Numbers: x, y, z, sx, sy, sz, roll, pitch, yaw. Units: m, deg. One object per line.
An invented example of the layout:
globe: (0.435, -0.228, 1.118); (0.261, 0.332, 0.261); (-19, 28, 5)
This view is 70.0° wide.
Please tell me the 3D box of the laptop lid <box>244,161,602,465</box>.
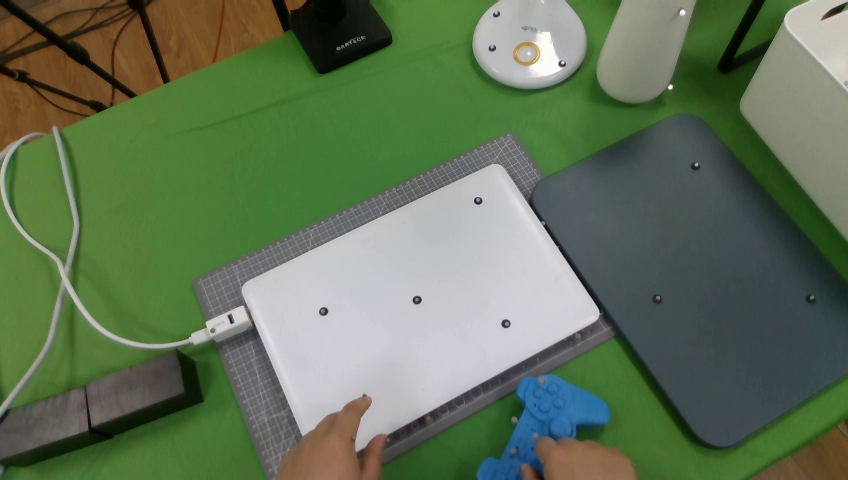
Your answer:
laptop lid: (-0.004, 0.067, 0.693); (0.357, 0.013, 0.239); (-25, 69, -8)

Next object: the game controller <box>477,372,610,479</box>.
game controller: (0.121, 0.209, 0.619); (0.096, 0.052, 0.154); (24, 68, 20)

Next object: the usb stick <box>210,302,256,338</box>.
usb stick: (-0.211, 0.088, 0.691); (0.059, 0.027, 0.021); (-22, 66, -13)

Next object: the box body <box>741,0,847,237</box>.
box body: (0.582, -0.120, 0.683); (0.254, 0.161, 0.361); (-24, 67, -7)

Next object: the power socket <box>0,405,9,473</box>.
power socket: (-0.520, 0.171, 0.675); (0.072, 0.033, 0.224); (-24, 66, -9)

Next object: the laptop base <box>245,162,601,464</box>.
laptop base: (-0.005, 0.070, 0.704); (0.354, 0.023, 0.233); (-26, 70, -9)

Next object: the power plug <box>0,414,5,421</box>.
power plug: (-0.462, 0.212, 0.633); (0.072, 0.053, 0.035); (-13, 65, -5)

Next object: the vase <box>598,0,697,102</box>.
vase: (0.276, -0.261, 0.742); (0.098, 0.201, 0.097); (-2, 64, 4)

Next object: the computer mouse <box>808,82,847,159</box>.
computer mouse: (0.526, -0.156, 0.763); (0.062, 0.041, 0.116); (8, 62, 10)

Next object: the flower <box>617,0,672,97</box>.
flower: (0.290, -0.304, 0.671); (0.038, 0.364, 0.043); (-10, 55, -20)

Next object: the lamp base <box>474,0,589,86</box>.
lamp base: (0.148, -0.326, 0.788); (0.160, 0.181, 0.178); (5, 63, 5)

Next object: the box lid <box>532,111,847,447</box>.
box lid: (0.324, 0.021, 0.714); (0.263, 0.015, 0.368); (-26, 67, -10)
